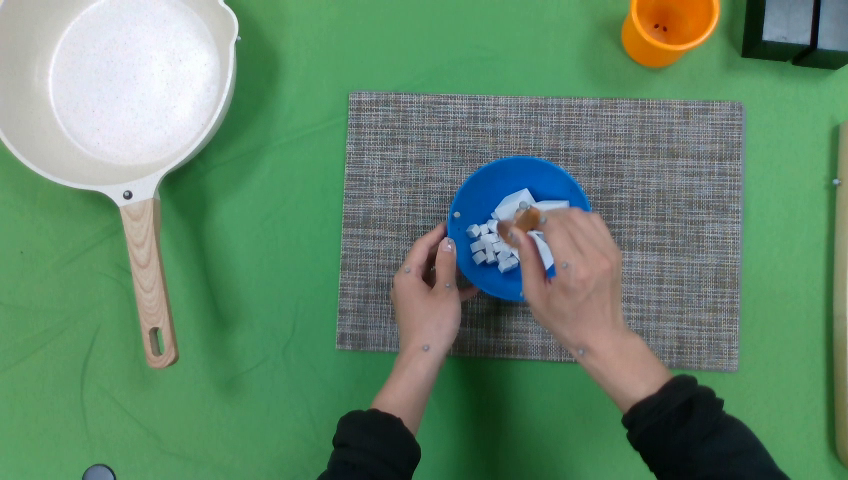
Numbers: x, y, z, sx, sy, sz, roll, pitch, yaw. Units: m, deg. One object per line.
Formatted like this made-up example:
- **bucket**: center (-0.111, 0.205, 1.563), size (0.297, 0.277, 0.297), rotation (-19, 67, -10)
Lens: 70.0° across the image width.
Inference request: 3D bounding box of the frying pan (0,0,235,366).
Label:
- **frying pan**: center (-0.329, -0.101, 0.673), size (0.307, 0.103, 0.485), rotation (-14, 78, 3)

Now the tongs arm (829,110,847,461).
- **tongs arm**: center (0.461, 0.050, 0.660), size (0.028, 0.028, 0.387), rotation (1, 88, 2)

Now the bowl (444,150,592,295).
- **bowl**: center (0.098, -0.015, 0.653), size (0.151, 0.077, 0.151), rotation (0, 87, 4)

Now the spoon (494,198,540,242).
- **spoon**: center (0.085, -0.016, 0.543), size (0.041, 0.194, 0.021), rotation (43, 91, 4)
